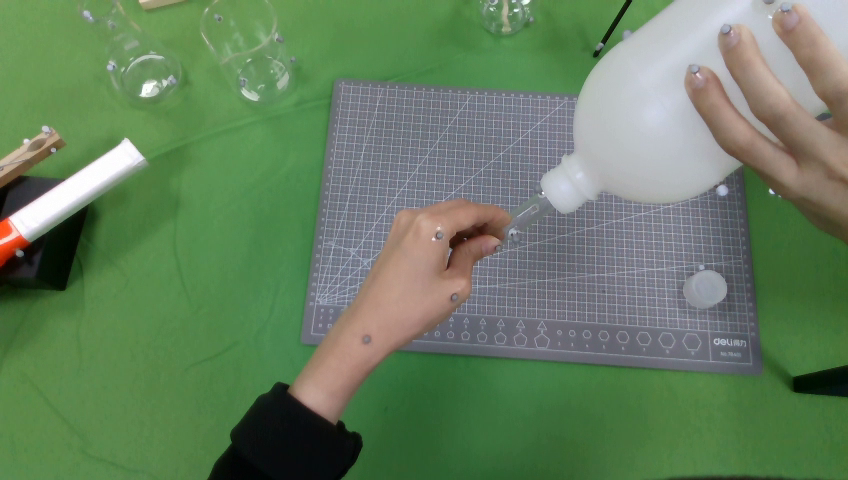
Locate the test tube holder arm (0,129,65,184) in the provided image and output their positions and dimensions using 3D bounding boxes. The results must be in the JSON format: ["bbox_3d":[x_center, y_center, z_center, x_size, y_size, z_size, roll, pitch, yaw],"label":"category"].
[{"bbox_3d":[-0.389,-0.075,0.583,0.088,0.015,0.010,-39,76,-13],"label":"test tube holder arm"}]

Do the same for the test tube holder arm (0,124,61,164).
[{"bbox_3d":[-0.427,-0.052,0.574,0.178,0.015,0.013,-40,77,-13],"label":"test tube holder arm"}]

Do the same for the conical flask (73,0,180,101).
[{"bbox_3d":[-0.309,-0.204,0.621,0.075,0.122,0.075,0,71,0],"label":"conical flask"}]

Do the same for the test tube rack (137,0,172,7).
[{"bbox_3d":[-0.223,-0.348,0.688,0.242,0.085,0.066,-16,73,-6],"label":"test tube rack"}]

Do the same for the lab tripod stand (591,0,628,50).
[{"bbox_3d":[0.259,-0.273,0.649,0.148,0.132,0.147,1,71,-2],"label":"lab tripod stand"}]

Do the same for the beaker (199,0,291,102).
[{"bbox_3d":[-0.183,-0.196,0.634,0.074,0.101,0.083,18,73,6],"label":"beaker"}]

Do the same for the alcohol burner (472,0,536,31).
[{"bbox_3d":[0.090,-0.287,0.661,0.078,0.120,0.077,1,70,-2],"label":"alcohol burner"}]

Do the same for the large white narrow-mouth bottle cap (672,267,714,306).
[{"bbox_3d":[0.268,0.046,0.603,0.038,0.024,0.037,0,73,0],"label":"large white narrow-mouth bottle cap"}]

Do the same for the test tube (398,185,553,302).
[{"bbox_3d":[0.034,0.006,0.432,0.150,0.017,0.017,-37,71,31],"label":"test tube"}]

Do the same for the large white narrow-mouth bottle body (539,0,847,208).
[{"bbox_3d":[0.149,-0.082,0.342,0.195,0.102,0.101,-38,72,27],"label":"large white narrow-mouth bottle body"}]

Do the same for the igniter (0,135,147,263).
[{"bbox_3d":[-0.384,-0.006,0.557,0.276,0.025,0.057,-40,79,-16],"label":"igniter"}]
